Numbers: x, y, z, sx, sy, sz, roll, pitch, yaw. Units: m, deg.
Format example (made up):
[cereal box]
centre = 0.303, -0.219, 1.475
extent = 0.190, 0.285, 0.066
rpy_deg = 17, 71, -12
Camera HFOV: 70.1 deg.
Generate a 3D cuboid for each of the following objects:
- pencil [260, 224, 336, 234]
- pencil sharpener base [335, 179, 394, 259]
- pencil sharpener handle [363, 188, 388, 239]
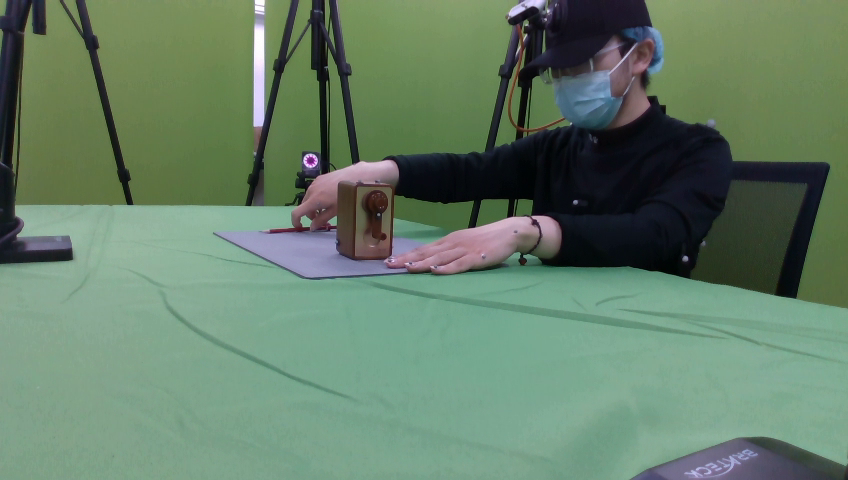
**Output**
[pencil]
centre = -0.213, -0.022, 1.123
extent = 0.195, 0.012, 0.012
rpy_deg = -6, 12, -40
[pencil sharpener base]
centre = -0.084, -0.030, 0.854
extent = 0.061, 0.107, 0.076
rpy_deg = -1, 8, -28
[pencil sharpener handle]
centre = -0.060, -0.035, 0.808
extent = 0.036, 0.067, 0.030
rpy_deg = -2, 9, -28
